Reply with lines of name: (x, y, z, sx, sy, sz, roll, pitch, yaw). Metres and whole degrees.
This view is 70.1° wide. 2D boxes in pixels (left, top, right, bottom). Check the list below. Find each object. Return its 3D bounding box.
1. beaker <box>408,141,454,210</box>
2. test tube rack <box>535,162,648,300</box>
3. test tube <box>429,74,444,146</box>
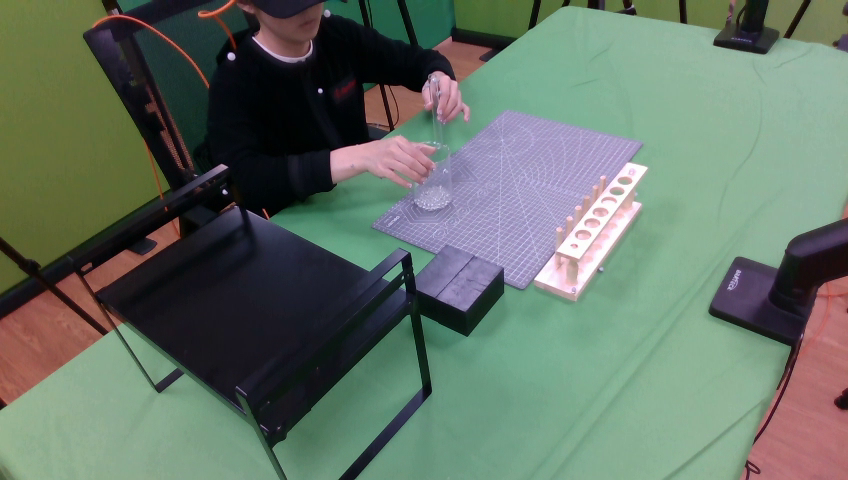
beaker: (0.016, -0.110, 1.037, 0.073, 0.100, 0.084, 15, 44, 24)
test tube rack: (0.257, -0.024, 0.916, 0.066, 0.085, 0.243, 22, 49, 30)
test tube: (0.024, -0.234, 1.104, 0.017, 0.151, 0.017, -4, 46, 4)
